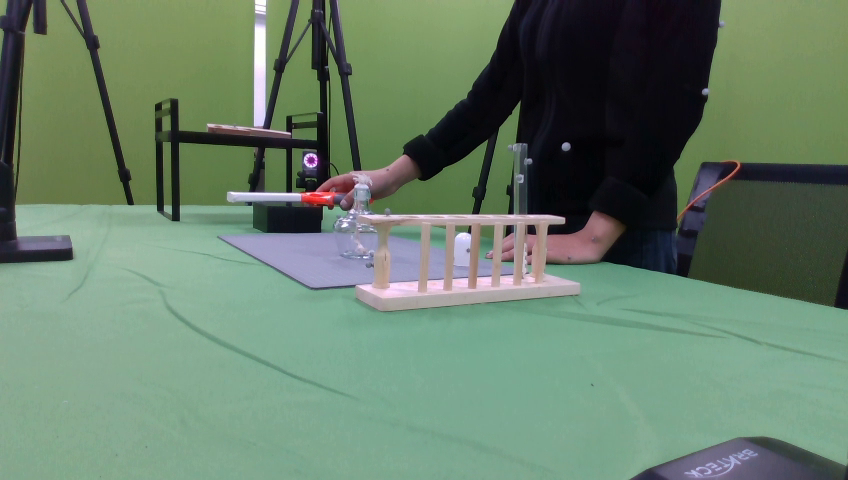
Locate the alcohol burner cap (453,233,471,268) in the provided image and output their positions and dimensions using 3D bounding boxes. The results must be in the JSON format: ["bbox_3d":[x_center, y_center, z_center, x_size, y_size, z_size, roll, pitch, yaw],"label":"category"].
[{"bbox_3d":[0.053,0.014,0.823,0.034,0.048,0.034,2,6,0],"label":"alcohol burner cap"}]

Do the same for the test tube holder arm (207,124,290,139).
[{"bbox_3d":[-0.381,-0.238,1.327,0.179,0.015,0.013,0,42,-32],"label":"test tube holder arm"}]

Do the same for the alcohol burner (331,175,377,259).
[{"bbox_3d":[-0.091,-0.033,0.855,0.078,0.119,0.078,4,8,0],"label":"alcohol burner"}]

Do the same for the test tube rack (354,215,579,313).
[{"bbox_3d":[0.053,0.019,0.635,0.243,0.085,0.066,-1,8,-29],"label":"test tube rack"}]

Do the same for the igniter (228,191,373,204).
[{"bbox_3d":[-0.230,-0.081,1.157,0.278,0.025,0.057,-1,11,-30],"label":"igniter"}]

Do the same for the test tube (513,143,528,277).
[{"bbox_3d":[0.108,-0.033,0.677,0.017,0.150,0.017,-1,8,1],"label":"test tube"}]

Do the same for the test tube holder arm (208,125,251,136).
[{"bbox_3d":[-0.418,-0.234,1.299,0.088,0.015,0.010,1,41,-32],"label":"test tube holder arm"}]
